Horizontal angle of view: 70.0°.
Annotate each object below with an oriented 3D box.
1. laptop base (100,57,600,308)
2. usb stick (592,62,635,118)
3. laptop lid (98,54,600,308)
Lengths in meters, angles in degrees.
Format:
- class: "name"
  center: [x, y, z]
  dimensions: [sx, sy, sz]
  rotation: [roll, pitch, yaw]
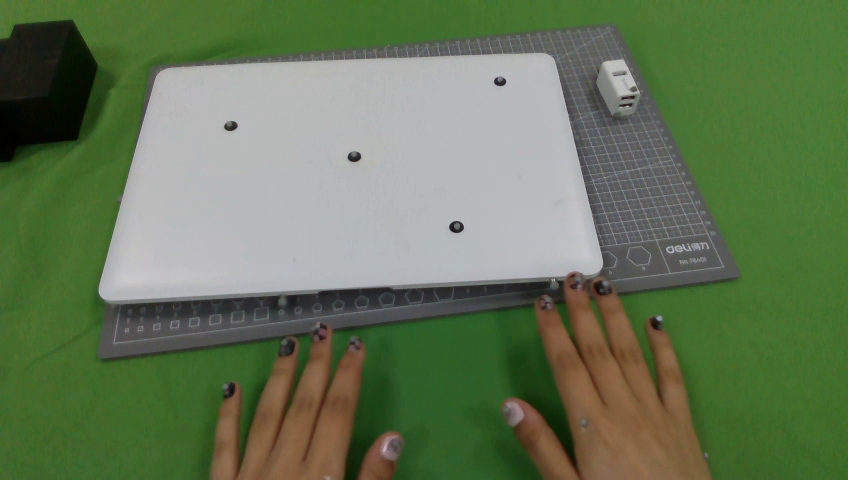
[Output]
- class: "laptop base"
  center: [-0.056, -0.056, 0.489]
  dimensions: [0.354, 0.023, 0.233]
  rotation: [-3, 59, -2]
- class: "usb stick"
  center: [0.165, -0.137, 0.536]
  dimensions: [0.021, 0.027, 0.058]
  rotation: [-8, 53, -4]
- class: "laptop lid"
  center: [-0.056, -0.061, 0.478]
  dimensions: [0.357, 0.013, 0.239]
  rotation: [-2, 58, -1]
